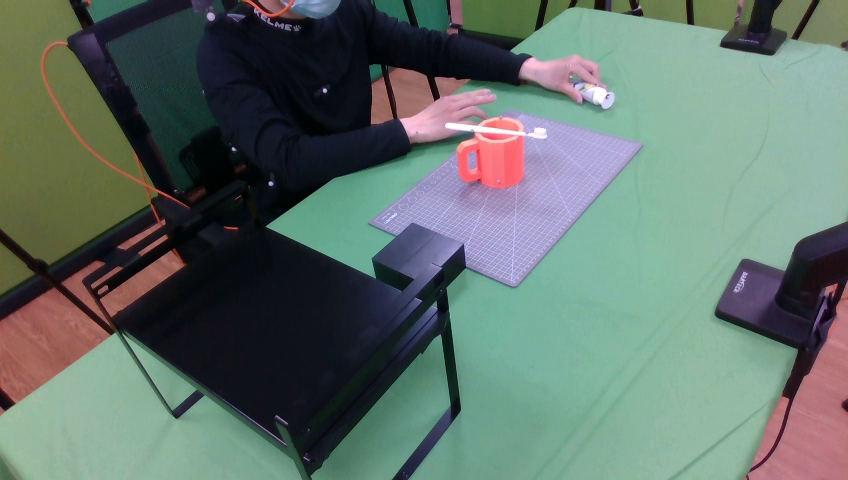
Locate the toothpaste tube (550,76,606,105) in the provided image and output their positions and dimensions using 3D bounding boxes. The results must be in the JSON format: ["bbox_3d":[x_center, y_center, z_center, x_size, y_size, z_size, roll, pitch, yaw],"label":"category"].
[{"bbox_3d":[0.340,-0.325,1.299,0.055,0.034,0.163,-16,35,-20],"label":"toothpaste tube"}]

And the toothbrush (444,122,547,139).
[{"bbox_3d":[0.121,-0.190,1.034,0.181,0.017,0.014,9,46,18],"label":"toothbrush"}]

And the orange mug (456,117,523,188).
[{"bbox_3d":[0.117,-0.152,1.071,0.127,0.101,0.083,-14,41,-14],"label":"orange mug"}]

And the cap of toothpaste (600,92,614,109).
[{"bbox_3d":[0.373,-0.286,1.236,0.037,0.037,0.011,-28,44,-23],"label":"cap of toothpaste"}]
